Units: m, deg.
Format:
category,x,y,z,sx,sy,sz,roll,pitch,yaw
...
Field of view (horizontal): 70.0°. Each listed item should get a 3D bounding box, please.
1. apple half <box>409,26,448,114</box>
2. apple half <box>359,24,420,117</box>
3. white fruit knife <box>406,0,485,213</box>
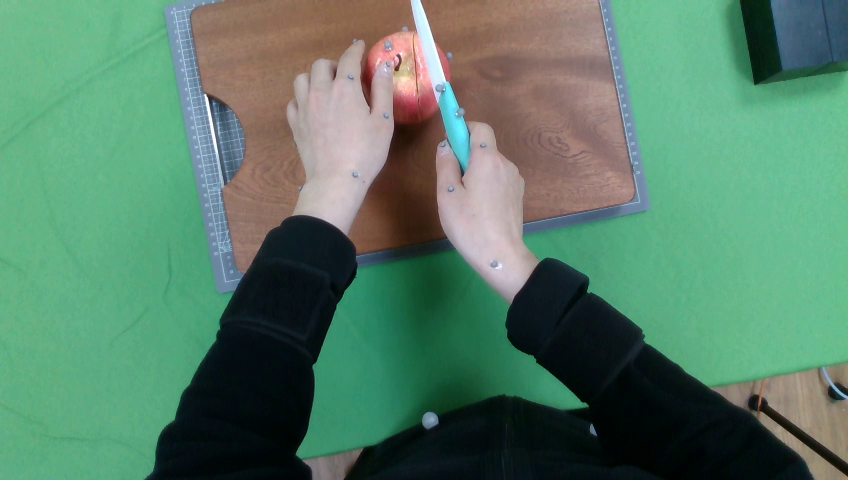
category,x,y,z,sx,sy,sz,roll,pitch,yaw
apple half,0.006,-0.156,0.559,0.033,0.081,0.081,-5,89,3
apple half,-0.032,-0.153,0.559,0.053,0.074,0.081,-6,93,3
white fruit knife,0.014,-0.124,0.501,0.016,0.027,0.207,-17,89,-30
